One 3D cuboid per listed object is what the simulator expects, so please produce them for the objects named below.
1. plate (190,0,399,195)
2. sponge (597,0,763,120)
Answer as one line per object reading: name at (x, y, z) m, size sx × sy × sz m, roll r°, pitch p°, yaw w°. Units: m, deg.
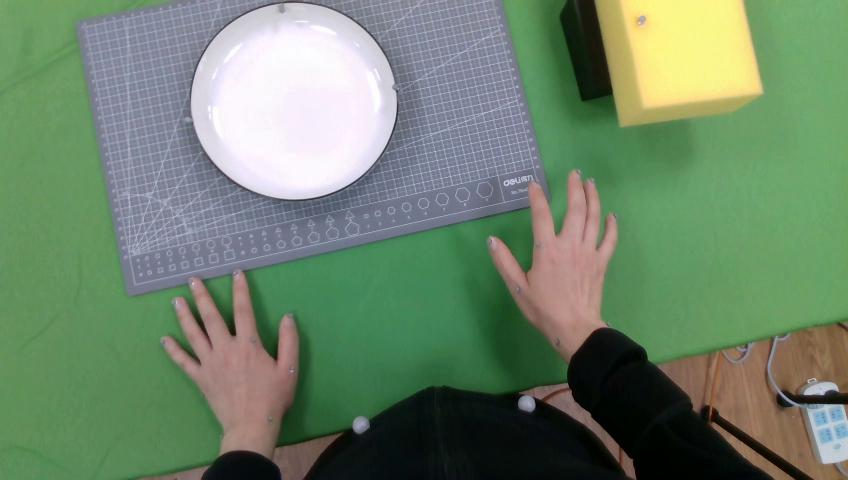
plate at (-0.130, -0.146, 0.625) m, size 0.209 × 0.038 × 0.208 m, roll 0°, pitch 85°, yaw -3°
sponge at (0.239, -0.231, 0.591) m, size 0.118 × 0.061 × 0.206 m, roll -10°, pitch 86°, yaw -3°
